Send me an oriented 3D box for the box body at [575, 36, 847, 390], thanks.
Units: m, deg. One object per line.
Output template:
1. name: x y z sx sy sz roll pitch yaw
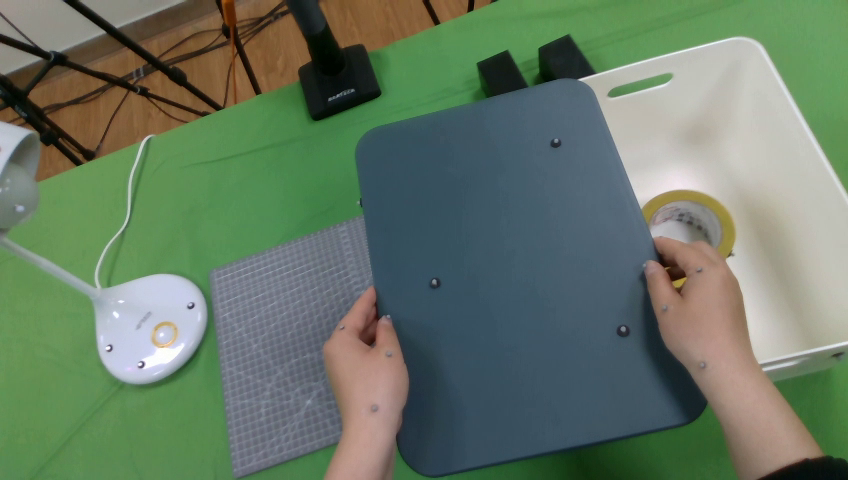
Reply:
1. box body: 0.292 -0.019 0.686 0.254 0.162 0.360 -15 62 6

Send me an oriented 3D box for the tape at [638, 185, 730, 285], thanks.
1. tape: 0.305 -0.007 0.733 0.116 0.053 0.116 -5 63 10

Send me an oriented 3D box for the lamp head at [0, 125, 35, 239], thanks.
1. lamp head: -0.422 -0.059 0.524 0.123 0.112 0.111 17 64 -16

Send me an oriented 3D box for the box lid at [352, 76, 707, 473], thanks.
1. box lid: 0.076 0.008 0.574 0.263 0.015 0.368 -14 63 4

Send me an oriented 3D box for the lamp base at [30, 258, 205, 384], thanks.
1. lamp base: -0.410 0.086 0.787 0.178 0.182 0.160 15 68 22
